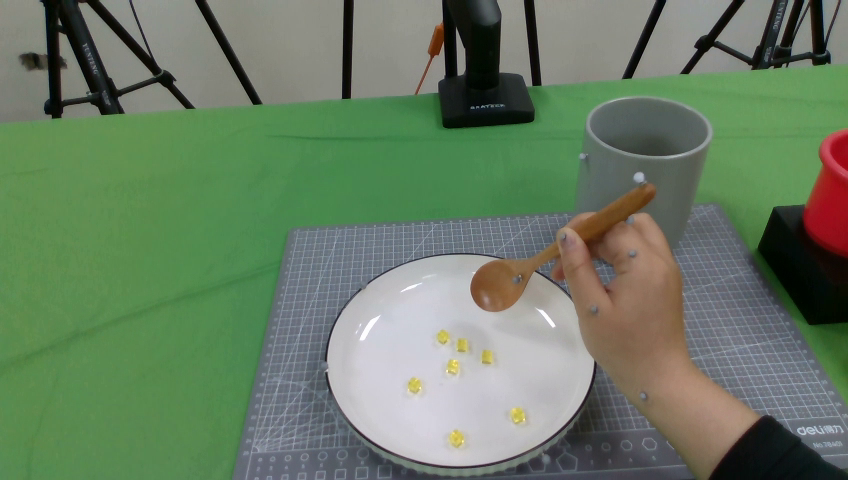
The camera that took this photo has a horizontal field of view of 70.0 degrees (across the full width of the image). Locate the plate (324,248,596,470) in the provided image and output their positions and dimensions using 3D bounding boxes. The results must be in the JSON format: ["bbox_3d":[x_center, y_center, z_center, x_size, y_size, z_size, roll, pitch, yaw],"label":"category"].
[{"bbox_3d":[0.028,0.089,0.480,0.207,0.039,0.205,-2,41,2],"label":"plate"}]

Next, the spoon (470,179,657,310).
[{"bbox_3d":[0.090,0.008,0.431,0.022,0.194,0.041,-22,79,-33],"label":"spoon"}]

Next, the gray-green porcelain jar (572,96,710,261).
[{"bbox_3d":[0.194,-0.052,0.561,0.106,0.127,0.105,-2,41,2],"label":"gray-green porcelain jar"}]
